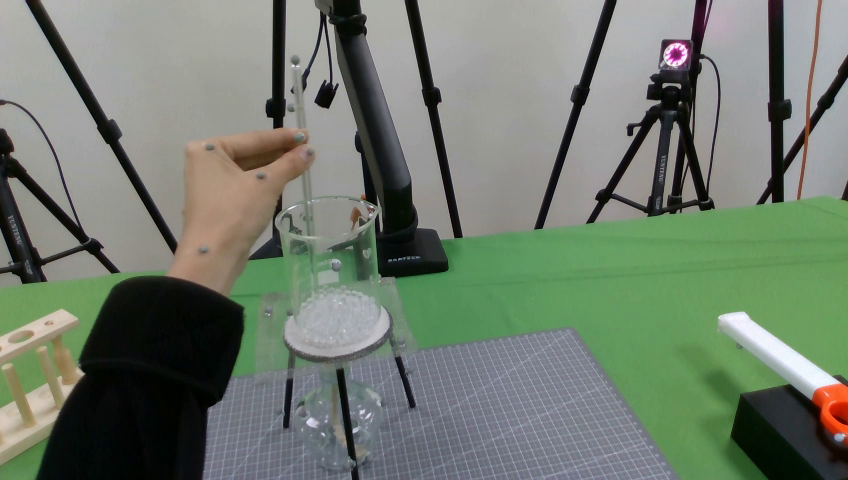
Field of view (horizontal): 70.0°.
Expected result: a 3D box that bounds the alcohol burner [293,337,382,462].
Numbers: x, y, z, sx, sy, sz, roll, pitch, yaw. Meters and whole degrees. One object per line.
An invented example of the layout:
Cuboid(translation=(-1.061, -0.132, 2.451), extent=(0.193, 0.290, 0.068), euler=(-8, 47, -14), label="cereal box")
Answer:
Cuboid(translation=(-0.076, 0.133, 0.526), extent=(0.078, 0.120, 0.077), euler=(0, 27, 0), label="alcohol burner")

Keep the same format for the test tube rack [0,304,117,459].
Cuboid(translation=(-0.418, 0.157, 0.543), extent=(0.066, 0.086, 0.242), euler=(17, 33, 32), label="test tube rack")

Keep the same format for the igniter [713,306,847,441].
Cuboid(translation=(0.337, 0.129, 0.499), extent=(0.057, 0.025, 0.274), euler=(-8, 24, -10), label="igniter")

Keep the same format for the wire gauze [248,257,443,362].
Cuboid(translation=(-0.066, 0.052, 0.483), extent=(0.125, 0.011, 0.120), euler=(-13, 27, -29), label="wire gauze")

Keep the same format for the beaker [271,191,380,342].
Cuboid(translation=(-0.070, 0.021, 0.472), extent=(0.084, 0.101, 0.073), euler=(-18, 33, -28), label="beaker")

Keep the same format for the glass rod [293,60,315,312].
Cuboid(translation=(-0.091, -0.033, 0.461), extent=(0.008, 0.201, 0.008), euler=(1, 23, 0), label="glass rod")

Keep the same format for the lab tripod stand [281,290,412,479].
Cuboid(translation=(-0.067, 0.123, 0.523), extent=(0.148, 0.132, 0.147), euler=(0, 28, 0), label="lab tripod stand")
